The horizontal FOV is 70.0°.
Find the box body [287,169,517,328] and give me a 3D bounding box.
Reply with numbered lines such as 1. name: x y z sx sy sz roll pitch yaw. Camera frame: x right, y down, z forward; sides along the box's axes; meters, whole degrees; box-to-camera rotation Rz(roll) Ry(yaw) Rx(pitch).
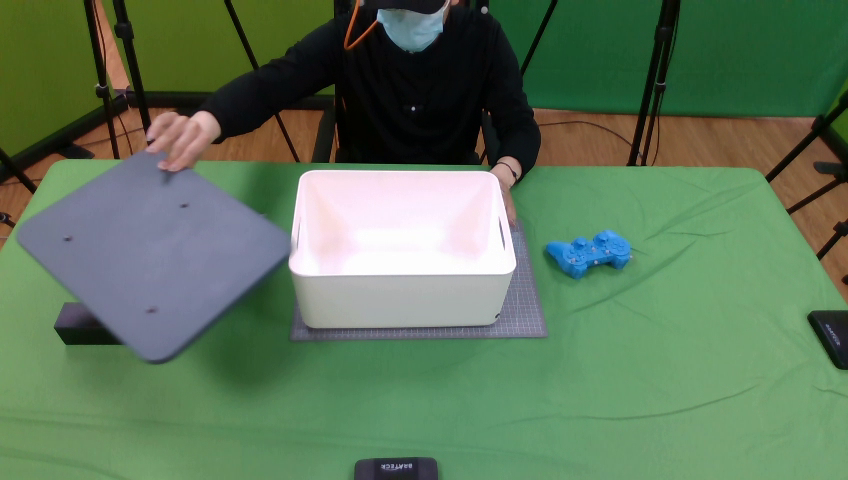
1. box body: -0.040 0.015 1.075 0.364 0.161 0.252 -1 47 -4

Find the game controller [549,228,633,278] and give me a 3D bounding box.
1. game controller: 0.332 0.016 1.182 0.155 0.052 0.096 -12 52 -13

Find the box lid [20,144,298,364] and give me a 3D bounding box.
1. box lid: -0.397 0.001 0.904 0.370 0.015 0.263 32 60 23
